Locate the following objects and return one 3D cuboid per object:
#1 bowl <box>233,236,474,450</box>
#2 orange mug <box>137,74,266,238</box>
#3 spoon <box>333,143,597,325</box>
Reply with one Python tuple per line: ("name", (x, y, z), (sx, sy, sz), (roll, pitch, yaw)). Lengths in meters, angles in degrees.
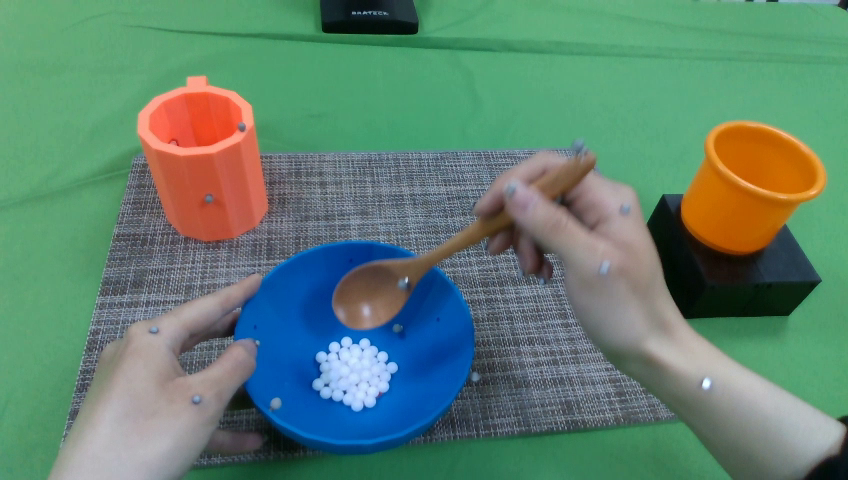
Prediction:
("bowl", (-0.046, 0.079, 0.409), (0.151, 0.077, 0.150), (4, 49, -4))
("orange mug", (-0.185, -0.079, 0.512), (0.084, 0.101, 0.125), (-8, 56, -14))
("spoon", (0.015, 0.001, 0.349), (0.022, 0.193, 0.041), (-1, 64, -51))
